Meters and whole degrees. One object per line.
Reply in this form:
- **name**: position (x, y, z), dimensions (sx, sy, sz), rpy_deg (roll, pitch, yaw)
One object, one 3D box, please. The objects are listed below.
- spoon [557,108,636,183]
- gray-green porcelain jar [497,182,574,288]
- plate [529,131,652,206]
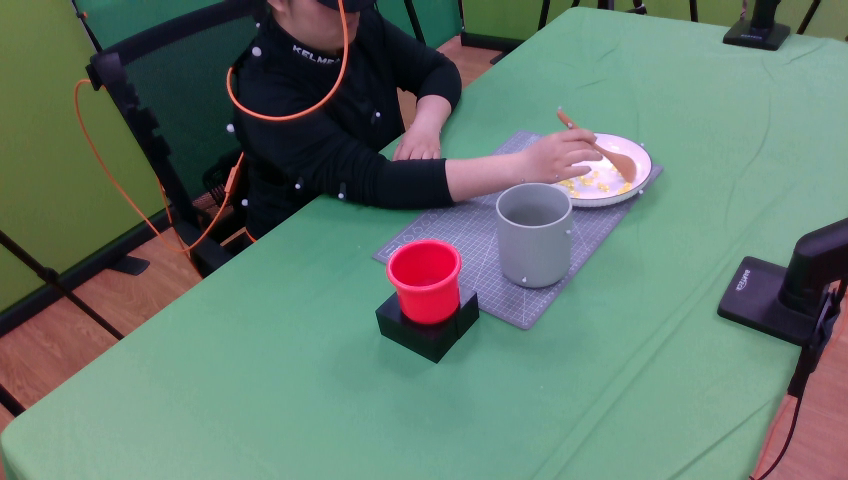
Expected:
- **spoon**: position (0.285, -0.154, 0.993), dimensions (0.021, 0.195, 0.041), rpy_deg (-13, 49, 63)
- **gray-green porcelain jar**: position (0.161, -0.003, 0.870), dimensions (0.106, 0.127, 0.105), rpy_deg (-5, 40, 5)
- **plate**: position (0.287, -0.121, 1.056), dimensions (0.207, 0.039, 0.206), rpy_deg (-5, 40, 5)
